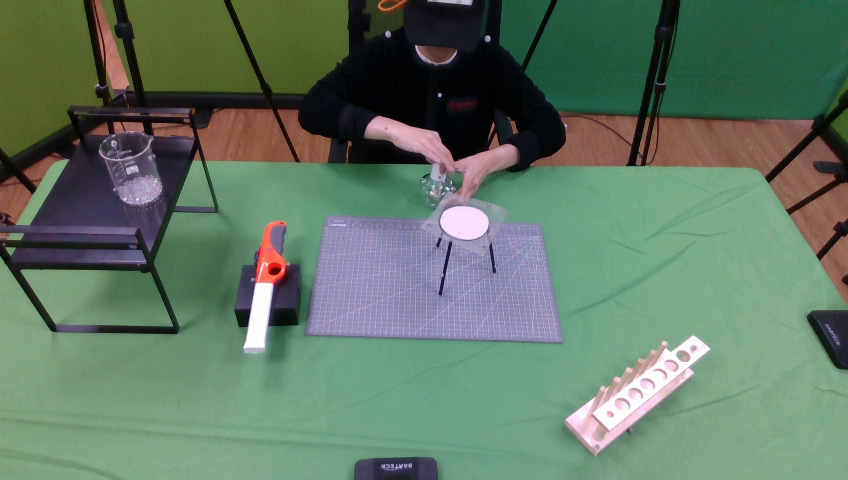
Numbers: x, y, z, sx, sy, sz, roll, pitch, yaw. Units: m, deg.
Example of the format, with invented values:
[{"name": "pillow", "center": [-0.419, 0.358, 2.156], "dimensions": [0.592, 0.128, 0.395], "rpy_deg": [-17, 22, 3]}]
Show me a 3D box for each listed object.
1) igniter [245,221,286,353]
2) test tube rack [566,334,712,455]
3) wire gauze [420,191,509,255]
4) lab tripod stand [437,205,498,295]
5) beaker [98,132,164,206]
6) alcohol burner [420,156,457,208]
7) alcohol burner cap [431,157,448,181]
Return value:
[{"name": "igniter", "center": [-0.270, 0.070, 1.040], "dimensions": [0.057, 0.025, 0.274], "rpy_deg": [2, 48, -6]}, {"name": "test tube rack", "center": [0.338, 0.228, 0.950], "dimensions": [0.242, 0.085, 0.066], "rpy_deg": [-27, 52, -26]}, {"name": "wire gauze", "center": [0.072, -0.035, 1.058], "dimensions": [0.125, 0.011, 0.121], "rpy_deg": [21, 48, 18]}, {"name": "lab tripod stand", "center": [0.066, 0.010, 1.107], "dimensions": [0.148, 0.132, 0.147], "rpy_deg": [0, 46, 0]}, {"name": "beaker", "center": [-0.460, -0.112, 0.968], "dimensions": [0.073, 0.101, 0.084], "rpy_deg": [37, 54, 28]}, {"name": "alcohol burner", "center": [0.031, -0.125, 1.254], "dimensions": [0.078, 0.119, 0.077], "rpy_deg": [3, 45, -3]}, {"name": "alcohol burner cap", "center": [0.033, -0.146, 1.231], "dimensions": [0.034, 0.048, 0.033], "rpy_deg": [3, 47, -3]}]
